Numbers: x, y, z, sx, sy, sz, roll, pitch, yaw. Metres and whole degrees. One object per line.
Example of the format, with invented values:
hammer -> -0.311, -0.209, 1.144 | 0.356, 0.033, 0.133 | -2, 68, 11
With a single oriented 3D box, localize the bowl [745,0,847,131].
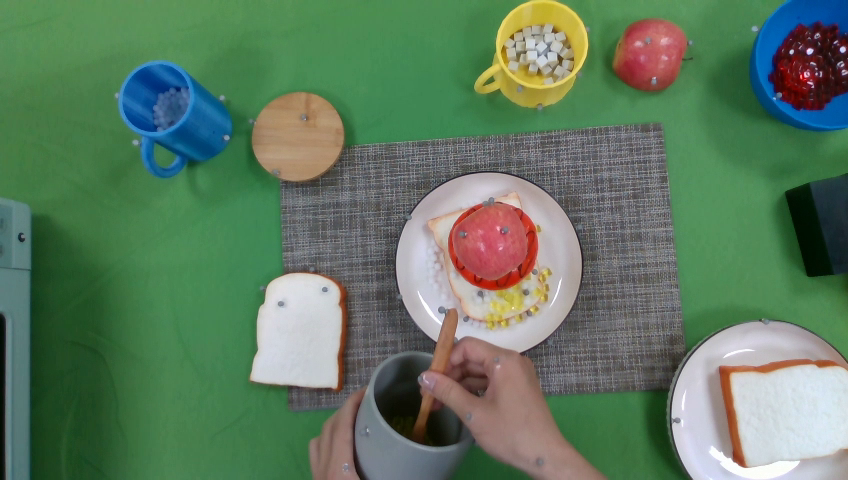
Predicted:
bowl -> 0.418, -0.185, 0.663 | 0.151, 0.077, 0.151 | 0, 85, 3

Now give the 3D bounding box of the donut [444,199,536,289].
donut -> 0.071, 0.004, 0.651 | 0.099, 0.048, 0.099 | 0, 85, 4

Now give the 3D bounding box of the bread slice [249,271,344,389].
bread slice -> -0.144, 0.101, 0.691 | 0.105, 0.019, 0.131 | 4, 85, 3

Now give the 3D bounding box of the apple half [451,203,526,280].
apple half -> 0.066, 0.000, 0.615 | 0.081, 0.033, 0.081 | -1, 83, 10

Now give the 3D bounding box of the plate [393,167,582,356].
plate -> 0.069, 0.024, 0.677 | 0.207, 0.039, 0.207 | 0, 85, 3

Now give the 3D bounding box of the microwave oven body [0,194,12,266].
microwave oven body -> -0.619, 0.164, 0.587 | 0.326, 0.261, 0.440 | -4, 85, 2

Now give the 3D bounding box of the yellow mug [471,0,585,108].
yellow mug -> 0.112, -0.202, 0.686 | 0.131, 0.064, 0.099 | -28, 84, 1

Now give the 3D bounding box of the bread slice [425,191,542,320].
bread slice -> 0.074, 0.022, 0.678 | 0.107, 0.018, 0.134 | -21, 84, 2

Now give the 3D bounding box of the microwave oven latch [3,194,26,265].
microwave oven latch -> -0.477, -0.011, 0.693 | 0.030, 0.029, 0.079 | 0, 85, 3

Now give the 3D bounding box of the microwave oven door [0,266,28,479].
microwave oven door -> -0.472, 0.196, 0.571 | 0.039, 0.244, 0.355 | -4, 84, 3

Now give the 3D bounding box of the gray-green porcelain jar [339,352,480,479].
gray-green porcelain jar -> -0.019, 0.185, 0.567 | 0.105, 0.105, 0.127 | 27, 126, 6

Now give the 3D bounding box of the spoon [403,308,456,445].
spoon -> -0.001, 0.148, 0.530 | 0.041, 0.021, 0.194 | 16, 109, 1

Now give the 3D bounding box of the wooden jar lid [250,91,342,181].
wooden jar lid -> -0.149, -0.120, 0.712 | 0.108, 0.021, 0.108 | -1, 81, 4

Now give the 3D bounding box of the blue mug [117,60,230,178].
blue mug -> -0.281, -0.126, 0.678 | 0.082, 0.106, 0.116 | 17, 85, 5

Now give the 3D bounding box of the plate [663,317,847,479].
plate -> 0.359, 0.186, 0.650 | 0.209, 0.038, 0.208 | 0, 84, 3

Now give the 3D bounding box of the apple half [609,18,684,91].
apple half -> 0.255, -0.216, 0.687 | 0.074, 0.053, 0.080 | 19, 86, 7
